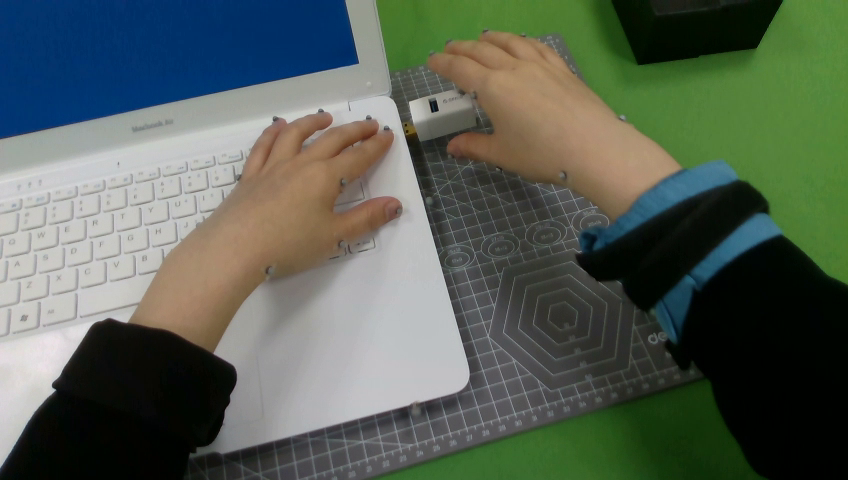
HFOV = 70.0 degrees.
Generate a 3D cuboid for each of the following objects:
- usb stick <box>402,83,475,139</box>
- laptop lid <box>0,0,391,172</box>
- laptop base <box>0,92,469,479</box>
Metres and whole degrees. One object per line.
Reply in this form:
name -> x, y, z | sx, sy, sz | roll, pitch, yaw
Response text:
usb stick -> 0.006, -0.091, 0.439 | 0.059, 0.027, 0.021 | -15, 62, 8
laptop lid -> -0.212, -0.165, 0.387 | 0.357, 0.244, 0.013 | -14, 36, -3
laptop base -> -0.168, 0.028, 0.402 | 0.354, 0.023, 0.233 | -13, 65, -4
